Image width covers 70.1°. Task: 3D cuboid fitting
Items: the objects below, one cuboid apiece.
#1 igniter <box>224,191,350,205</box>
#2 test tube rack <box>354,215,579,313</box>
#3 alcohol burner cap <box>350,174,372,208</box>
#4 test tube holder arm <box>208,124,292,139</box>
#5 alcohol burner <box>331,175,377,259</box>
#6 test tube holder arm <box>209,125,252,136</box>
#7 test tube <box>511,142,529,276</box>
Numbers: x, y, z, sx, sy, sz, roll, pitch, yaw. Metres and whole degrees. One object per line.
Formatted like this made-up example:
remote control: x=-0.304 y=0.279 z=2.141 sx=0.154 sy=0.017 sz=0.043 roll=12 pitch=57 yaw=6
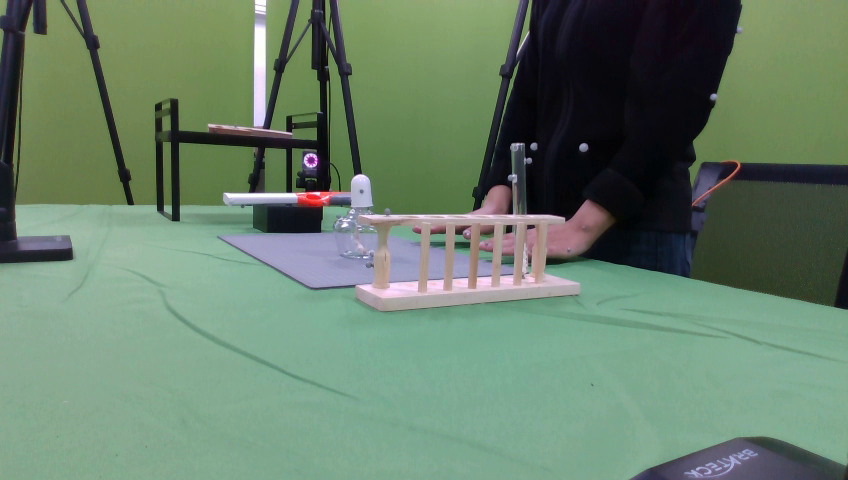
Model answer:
igniter: x=-0.237 y=-0.079 z=1.157 sx=0.278 sy=0.025 sz=0.057 roll=-2 pitch=21 yaw=-32
test tube rack: x=0.053 y=0.019 z=0.635 sx=0.243 sy=0.085 sz=0.066 roll=-1 pitch=8 yaw=-29
alcohol burner cap: x=-0.090 y=-0.068 z=0.850 sx=0.034 sy=0.048 sz=0.034 roll=-3 pitch=9 yaw=1
test tube holder arm: x=-0.381 y=-0.238 z=1.333 sx=0.179 sy=0.015 sz=0.013 roll=1 pitch=39 yaw=-28
alcohol burner: x=-0.091 y=-0.033 z=0.855 sx=0.078 sy=0.119 sz=0.078 roll=4 pitch=7 yaw=0
test tube holder arm: x=-0.419 y=-0.236 z=1.308 sx=0.088 sy=0.015 sz=0.010 roll=1 pitch=39 yaw=-28
test tube: x=0.108 y=-0.034 z=0.678 sx=0.017 sy=0.150 sz=0.017 roll=-3 pitch=7 yaw=1
